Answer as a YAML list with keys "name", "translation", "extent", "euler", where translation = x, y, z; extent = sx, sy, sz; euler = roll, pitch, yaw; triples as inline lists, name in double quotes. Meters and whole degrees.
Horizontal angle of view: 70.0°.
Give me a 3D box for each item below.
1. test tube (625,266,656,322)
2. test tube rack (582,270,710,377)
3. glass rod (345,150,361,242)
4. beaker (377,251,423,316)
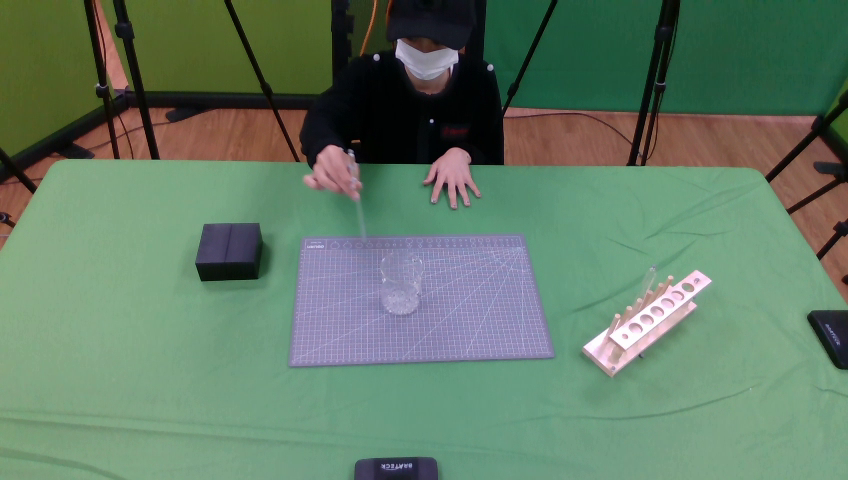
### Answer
- name: "test tube"
  translation: [0.366, 0.096, 1.027]
  extent: [0.017, 0.151, 0.017]
  euler: [1, 47, 0]
- name: "test tube rack"
  translation: [0.389, 0.132, 1.057]
  extent: [0.242, 0.085, 0.066]
  euler: [-28, 54, -28]
- name: "glass rod"
  translation: [-0.111, -0.064, 0.955]
  extent: [0.008, 0.201, 0.008]
  euler: [0, 49, 1]
- name: "beaker"
  translation: [-0.040, 0.081, 1.060]
  extent: [0.074, 0.101, 0.083]
  euler: [-32, 57, -30]
